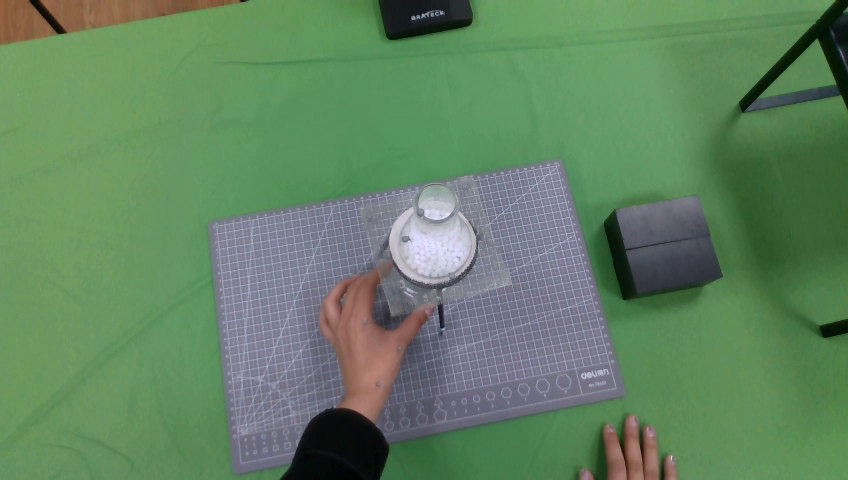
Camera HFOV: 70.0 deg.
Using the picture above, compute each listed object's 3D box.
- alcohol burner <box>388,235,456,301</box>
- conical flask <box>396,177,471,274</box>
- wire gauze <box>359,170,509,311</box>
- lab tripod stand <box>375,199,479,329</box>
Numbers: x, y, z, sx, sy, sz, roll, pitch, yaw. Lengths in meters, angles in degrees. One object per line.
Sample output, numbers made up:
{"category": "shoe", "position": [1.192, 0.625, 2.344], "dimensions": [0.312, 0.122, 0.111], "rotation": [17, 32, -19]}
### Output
{"category": "alcohol burner", "position": [-0.002, 0.027, 0.675], "dimensions": [0.078, 0.119, 0.077], "rotation": [0, 74, -1]}
{"category": "conical flask", "position": [0.010, -0.018, 0.547], "dimensions": [0.075, 0.122, 0.075], "rotation": [0, 73, 0]}
{"category": "wire gauze", "position": [0.009, -0.001, 0.604], "dimensions": [0.125, 0.011, 0.121], "rotation": [-15, 77, -7]}
{"category": "lab tripod stand", "position": [0.011, 0.015, 0.668], "dimensions": [0.148, 0.132, 0.147], "rotation": [0, 73, 0]}
